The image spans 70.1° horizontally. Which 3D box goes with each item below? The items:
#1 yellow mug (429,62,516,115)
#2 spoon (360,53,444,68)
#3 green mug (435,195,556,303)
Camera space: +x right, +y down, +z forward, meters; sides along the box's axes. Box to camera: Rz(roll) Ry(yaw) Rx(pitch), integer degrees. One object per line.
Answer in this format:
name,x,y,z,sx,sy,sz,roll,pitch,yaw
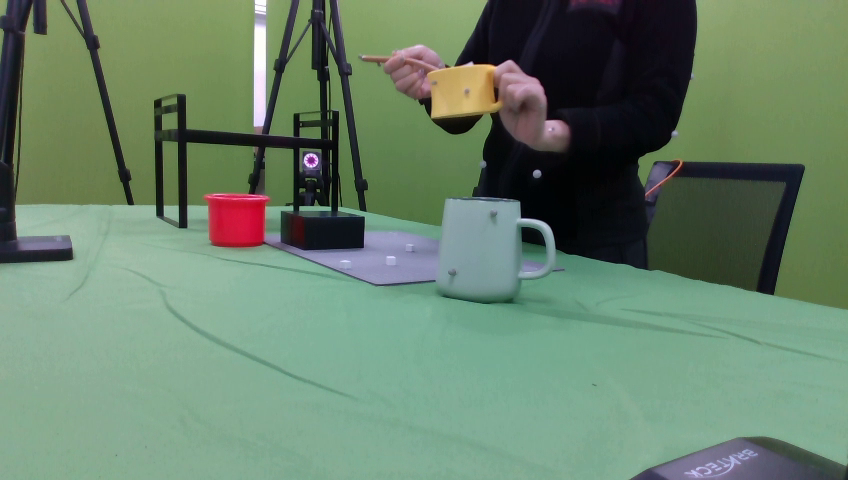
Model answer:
yellow mug,0.073,-0.219,0.875,0.130,0.064,0.100,1,11,33
spoon,-0.012,-0.270,0.914,0.193,0.021,0.042,17,15,23
green mug,0.074,0.009,0.624,0.125,0.105,0.093,5,7,23
